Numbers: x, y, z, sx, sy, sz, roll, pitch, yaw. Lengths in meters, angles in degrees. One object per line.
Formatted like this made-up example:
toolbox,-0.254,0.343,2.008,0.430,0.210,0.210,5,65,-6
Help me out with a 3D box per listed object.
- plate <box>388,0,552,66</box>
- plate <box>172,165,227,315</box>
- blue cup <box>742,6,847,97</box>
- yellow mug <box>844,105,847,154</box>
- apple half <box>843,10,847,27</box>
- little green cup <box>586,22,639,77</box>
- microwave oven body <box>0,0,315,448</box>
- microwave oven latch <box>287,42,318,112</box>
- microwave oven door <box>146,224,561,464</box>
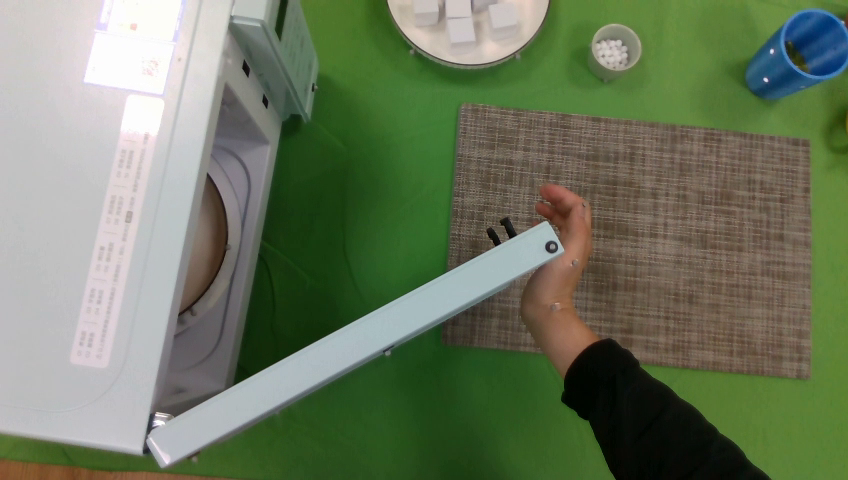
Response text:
plate,0.057,-0.315,0.766,0.208,0.039,0.207,0,82,-2
plate,-0.313,-0.010,0.644,0.209,0.038,0.208,1,83,-4
blue cup,0.444,-0.220,0.739,0.093,0.100,0.092,0,83,-3
yellow mug,0.581,-0.146,0.752,0.131,0.064,0.100,-36,85,-5
apple half,0.566,-0.283,0.766,0.053,0.075,0.080,11,85,3
little green cup,0.235,-0.237,0.763,0.061,0.039,0.061,0,82,-2
microwave oven body,-0.316,-0.059,0.599,0.326,0.260,0.440,9,83,-2
microwave oven latch,-0.146,-0.196,0.722,0.030,0.029,0.079,11,83,-1
microwave oven door,-0.054,0.092,0.585,0.356,0.244,0.039,-28,83,-6
